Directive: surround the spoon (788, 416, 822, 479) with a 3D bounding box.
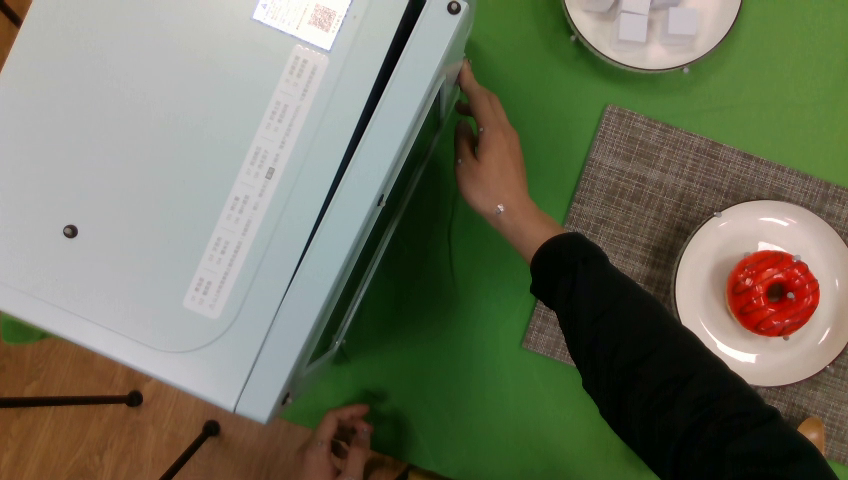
[{"bbox_3d":[0.447,0.290,0.683,0.042,0.021,0.193,-17,89,-19],"label":"spoon"}]

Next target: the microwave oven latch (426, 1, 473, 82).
[{"bbox_3d":[0.028,-0.221,0.679,0.030,0.029,0.079,26,89,1],"label":"microwave oven latch"}]

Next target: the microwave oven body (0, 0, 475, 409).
[{"bbox_3d":[-0.180,-0.120,0.581,0.326,0.260,0.441,23,89,1],"label":"microwave oven body"}]

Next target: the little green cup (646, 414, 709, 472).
[{"bbox_3d":[0.281,0.225,0.680,0.061,0.038,0.061,0,86,0],"label":"little green cup"}]

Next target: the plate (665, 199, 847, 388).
[{"bbox_3d":[0.373,0.058,0.682,0.209,0.038,0.209,0,88,1],"label":"plate"}]

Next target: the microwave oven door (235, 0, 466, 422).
[{"bbox_3d":[-0.056,-0.021,0.572,0.039,0.244,0.355,26,88,2],"label":"microwave oven door"}]

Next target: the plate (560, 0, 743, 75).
[{"bbox_3d":[0.257,-0.289,0.698,0.208,0.039,0.207,0,88,0],"label":"plate"}]

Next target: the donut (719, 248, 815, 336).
[{"bbox_3d":[0.377,0.057,0.670,0.099,0.048,0.099,0,89,3],"label":"donut"}]
